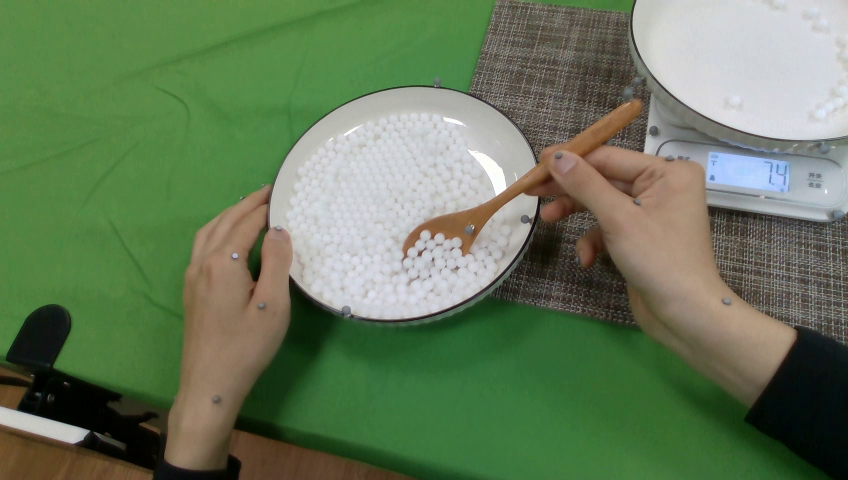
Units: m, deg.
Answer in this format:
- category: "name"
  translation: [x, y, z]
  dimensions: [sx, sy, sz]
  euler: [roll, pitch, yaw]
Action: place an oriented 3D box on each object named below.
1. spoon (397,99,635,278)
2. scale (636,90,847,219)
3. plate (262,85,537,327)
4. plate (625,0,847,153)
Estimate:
- category: "spoon"
  translation: [0.059, -0.033, 0.415]
  dimensions: [0.194, 0.022, 0.041]
  euler: [-35, 83, 23]
- category: "scale"
  translation: [0.253, -0.115, 0.480]
  dimensions: [0.148, 0.032, 0.199]
  euler: [10, 65, 12]
- category: "plate"
  translation: [-0.018, -0.028, 0.465]
  dimensions: [0.209, 0.038, 0.207]
  euler: [-3, 62, 6]
- category: "plate"
  translation: [0.258, -0.147, 0.459]
  dimensions: [0.207, 0.039, 0.206]
  euler: [-2, 63, 5]
